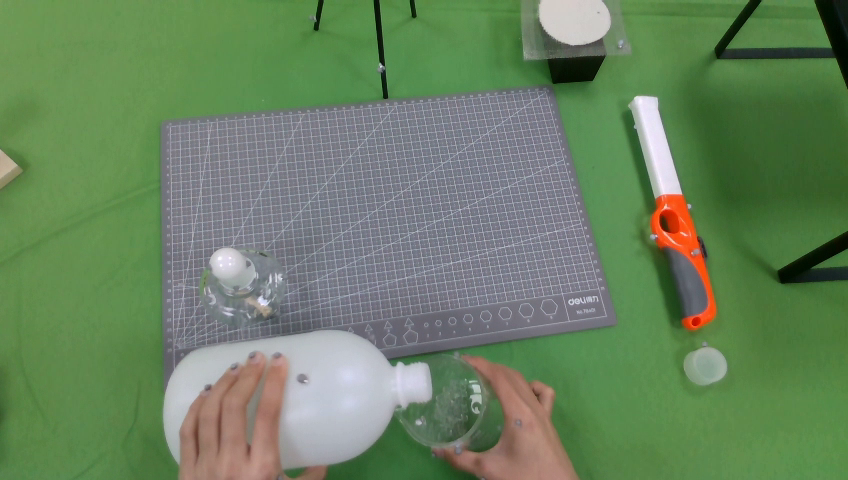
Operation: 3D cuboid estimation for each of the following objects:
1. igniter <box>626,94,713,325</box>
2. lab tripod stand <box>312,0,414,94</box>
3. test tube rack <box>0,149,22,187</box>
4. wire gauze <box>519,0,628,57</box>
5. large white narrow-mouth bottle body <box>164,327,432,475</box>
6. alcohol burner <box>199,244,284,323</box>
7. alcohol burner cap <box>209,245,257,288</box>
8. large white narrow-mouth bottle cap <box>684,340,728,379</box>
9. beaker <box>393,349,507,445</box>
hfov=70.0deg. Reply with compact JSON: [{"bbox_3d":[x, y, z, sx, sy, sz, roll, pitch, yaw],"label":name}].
[{"bbox_3d":[0.269,-0.041,0.669,0.057,0.025,0.274,0,69,-16],"label":"igniter"},{"bbox_3d":[-0.059,-0.259,0.670,0.148,0.132,0.147,2,69,-5],"label":"lab tripod stand"},{"bbox_3d":[-0.524,-0.027,0.569,0.066,0.085,0.242,39,71,11],"label":"test tube rack"},{"bbox_3d":[0.169,-0.264,0.705,0.121,0.011,0.124,0,69,-4],"label":"wire gauze"},{"bbox_3d":[-0.090,0.121,0.473,0.194,0.102,0.101,-10,69,8],"label":"large white narrow-mouth bottle body"},{"bbox_3d":[-0.170,0.034,0.556,0.078,0.120,0.077,2,67,-5],"label":"alcohol burner"},{"bbox_3d":[-0.167,0.022,0.522,0.034,0.048,0.033,0,74,-1],"label":"alcohol burner cap"},{"bbox_3d":[0.284,0.120,0.612,0.038,0.024,0.037,2,68,-3],"label":"large white narrow-mouth bottle cap"},{"bbox_3d":[0.027,0.143,0.533,0.084,0.101,0.073,-15,65,16],"label":"beaker"}]
